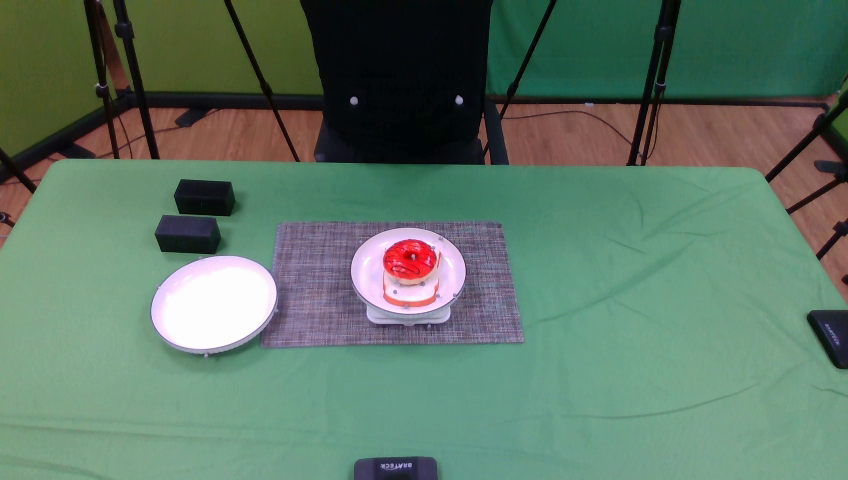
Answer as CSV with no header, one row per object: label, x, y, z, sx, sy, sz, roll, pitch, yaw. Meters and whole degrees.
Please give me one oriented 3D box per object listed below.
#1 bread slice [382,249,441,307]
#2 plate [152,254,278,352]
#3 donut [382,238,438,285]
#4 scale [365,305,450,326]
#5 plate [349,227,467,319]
bread slice,-0.023,0.064,1.078,0.105,0.019,0.130,2,45,0
plate,-0.357,0.111,1.052,0.208,0.039,0.206,2,46,-2
donut,-0.025,0.036,1.064,0.099,0.048,0.098,0,44,0
scale,-0.032,0.071,1.113,0.149,0.032,0.199,0,46,-4
plate,-0.029,0.061,1.077,0.209,0.038,0.208,2,46,-2
